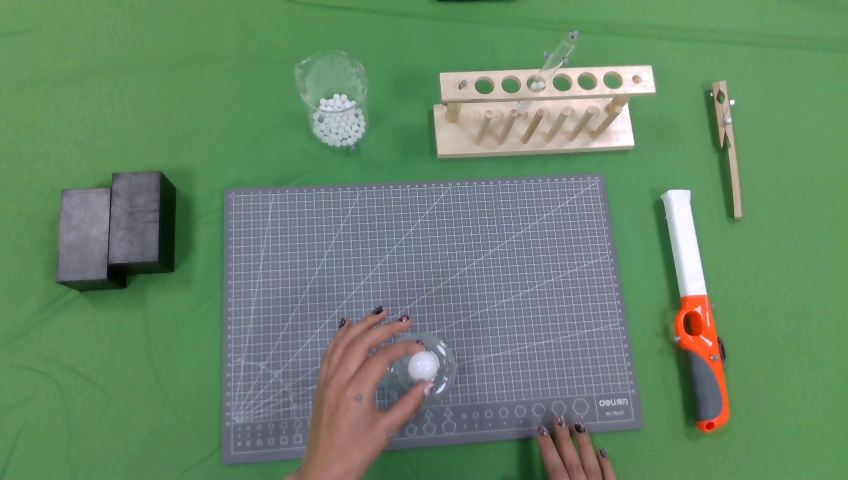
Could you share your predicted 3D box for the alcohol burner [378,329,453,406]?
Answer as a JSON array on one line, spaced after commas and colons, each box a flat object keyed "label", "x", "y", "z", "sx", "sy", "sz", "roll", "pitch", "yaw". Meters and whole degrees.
[{"label": "alcohol burner", "x": -0.007, "y": 0.126, "z": 0.609, "sx": 0.078, "sy": 0.119, "sz": 0.077, "roll": 2, "pitch": 73, "yaw": -5}]

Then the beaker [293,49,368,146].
[{"label": "beaker", "x": -0.104, "y": -0.157, "z": 0.684, "sx": 0.084, "sy": 0.100, "sz": 0.073, "roll": 24, "pitch": 74, "yaw": 3}]

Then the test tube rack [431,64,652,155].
[{"label": "test tube rack", "x": 0.134, "y": -0.151, "z": 0.710, "sx": 0.243, "sy": 0.085, "sz": 0.066, "roll": -3, "pitch": 76, "yaw": -6}]

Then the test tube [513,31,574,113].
[{"label": "test tube", "x": 0.127, "y": -0.180, "z": 0.664, "sx": 0.017, "sy": 0.150, "sz": 0.017, "roll": 3, "pitch": 74, "yaw": -11}]

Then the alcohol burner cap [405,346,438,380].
[{"label": "alcohol burner cap", "x": -0.003, "y": 0.116, "z": 0.571, "sx": 0.034, "sy": 0.048, "sz": 0.033, "roll": 0, "pitch": 81, "yaw": 0}]

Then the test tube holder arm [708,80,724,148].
[{"label": "test tube holder arm", "x": 0.372, "y": -0.160, "z": 0.768, "sx": 0.010, "sy": 0.015, "sz": 0.087, "roll": -10, "pitch": 75, "yaw": 29}]

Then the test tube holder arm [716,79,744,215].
[{"label": "test tube holder arm", "x": 0.379, "y": -0.117, "z": 0.754, "sx": 0.013, "sy": 0.015, "sz": 0.177, "roll": -11, "pitch": 74, "yaw": 28}]

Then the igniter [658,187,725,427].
[{"label": "igniter", "x": 0.307, "y": 0.071, "z": 0.698, "sx": 0.057, "sy": 0.025, "sz": 0.275, "roll": 0, "pitch": 76, "yaw": -15}]
